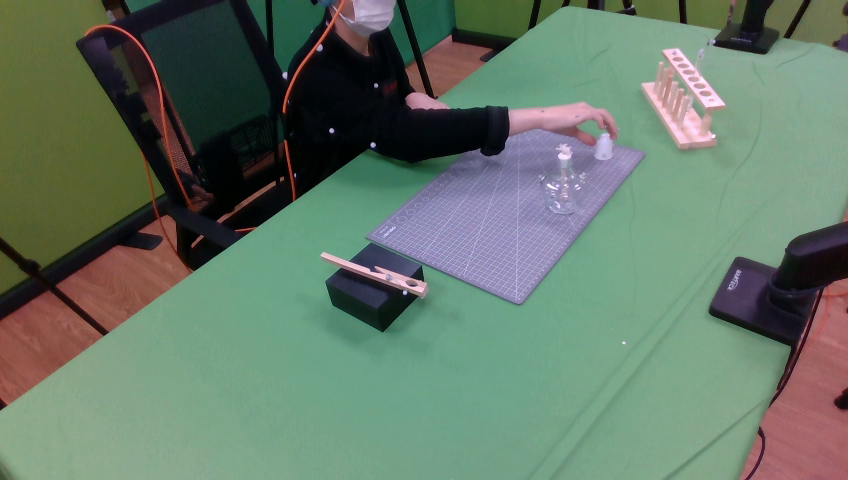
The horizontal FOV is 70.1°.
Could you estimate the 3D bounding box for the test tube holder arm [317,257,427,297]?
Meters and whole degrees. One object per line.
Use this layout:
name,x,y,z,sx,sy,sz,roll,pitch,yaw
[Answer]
test tube holder arm,-0.076,0.051,0.854,0.177,0.015,0.013,13,47,23

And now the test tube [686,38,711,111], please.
test tube,0.508,-0.305,1.128,0.017,0.151,0.017,-2,46,3

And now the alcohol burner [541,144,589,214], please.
alcohol burner,0.229,-0.102,0.983,0.078,0.119,0.077,-6,41,5

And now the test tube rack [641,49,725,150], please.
test tube rack,0.495,-0.279,1.175,0.067,0.085,0.241,-5,41,3

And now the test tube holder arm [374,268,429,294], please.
test tube holder arm,-0.034,0.057,0.840,0.087,0.015,0.010,14,47,24

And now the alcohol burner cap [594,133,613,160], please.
alcohol burner cap,0.330,-0.172,1.104,0.034,0.048,0.033,-5,41,5
